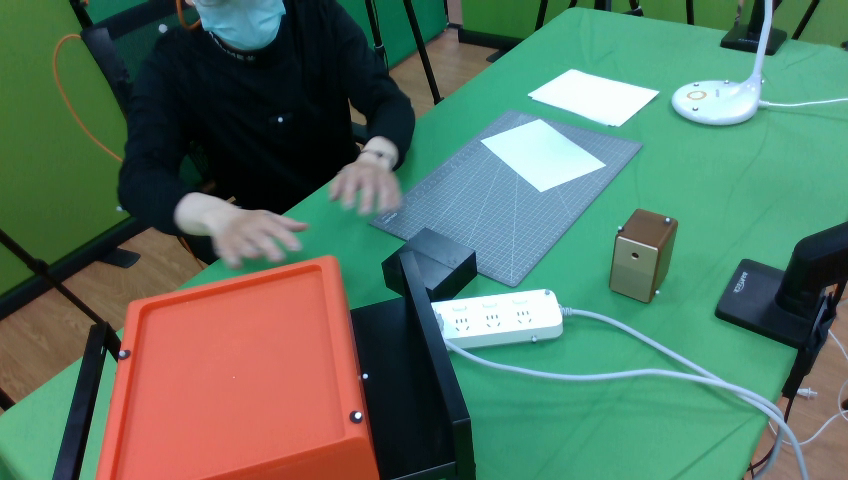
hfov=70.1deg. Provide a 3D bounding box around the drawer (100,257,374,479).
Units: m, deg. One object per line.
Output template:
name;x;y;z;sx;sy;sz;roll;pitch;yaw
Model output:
drawer;-0.158;0.126;0.526;0.195;0.073;0.210;-13;41;-7

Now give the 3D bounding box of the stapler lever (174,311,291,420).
stapler lever;-0.173;0.109;0.546;0.118;0.040;0.026;-36;44;-21

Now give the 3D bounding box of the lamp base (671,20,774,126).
lamp base;0.581;-0.332;1.154;0.179;0.181;0.160;2;41;7

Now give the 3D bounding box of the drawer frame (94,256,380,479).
drawer frame;-0.155;0.125;0.525;0.202;0.083;0.212;-13;41;-8

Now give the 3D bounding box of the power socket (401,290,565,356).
power socket;0.080;0.112;0.822;0.227;0.033;0.072;-6;41;0

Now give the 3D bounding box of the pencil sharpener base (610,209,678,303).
pencil sharpener base;0.304;0.021;0.839;0.061;0.107;0.077;21;48;30

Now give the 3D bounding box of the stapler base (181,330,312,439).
stapler base;-0.167;0.126;0.563;0.131;0.024;0.041;-37;44;-20

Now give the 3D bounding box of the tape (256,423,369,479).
tape;-0.121;0.263;0.660;0.117;0.053;0.116;-4;40;4

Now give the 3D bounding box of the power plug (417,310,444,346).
power plug;0.006;0.122;0.785;0.035;0.053;0.072;-1;40;8

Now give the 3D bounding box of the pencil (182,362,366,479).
pencil;-0.127;0.158;0.522;0.195;0.012;0.012;-31;45;-31

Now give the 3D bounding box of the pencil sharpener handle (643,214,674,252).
pencil sharpener handle;0.338;-0.016;0.857;0.035;0.068;0.031;1;35;44
